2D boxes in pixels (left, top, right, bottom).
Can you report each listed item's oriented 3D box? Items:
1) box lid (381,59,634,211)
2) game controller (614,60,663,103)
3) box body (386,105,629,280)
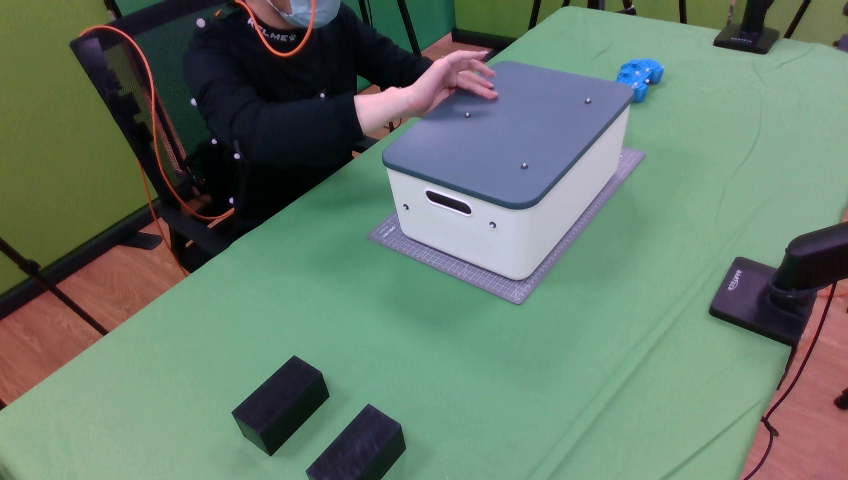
[{"bbox_3d":[0.138,-0.181,0.933,0.261,0.015,0.372,23,49,29],"label":"box lid"},{"bbox_3d":[0.442,-0.344,1.288,0.096,0.052,0.155,25,50,27],"label":"game controller"},{"bbox_3d":[0.143,-0.124,0.981,0.252,0.161,0.365,22,48,29],"label":"box body"}]
